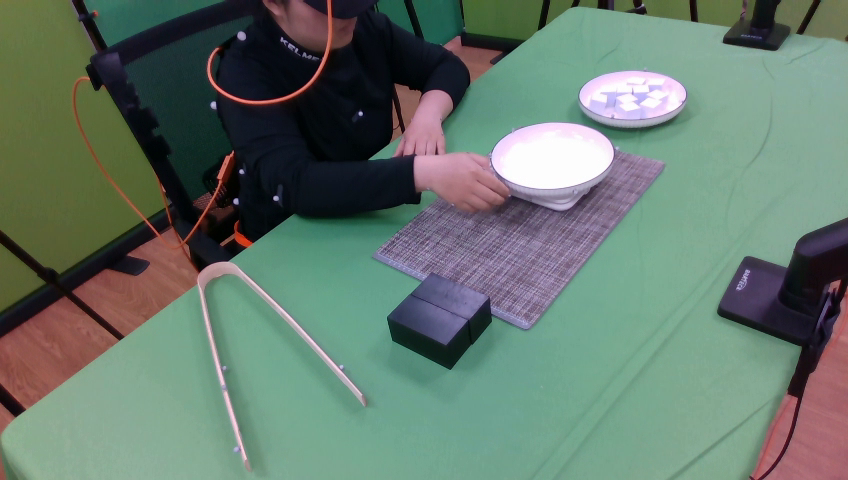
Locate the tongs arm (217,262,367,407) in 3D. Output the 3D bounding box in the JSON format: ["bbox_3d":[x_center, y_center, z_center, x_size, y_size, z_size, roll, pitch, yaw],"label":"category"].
[{"bbox_3d":[-0.199,0.122,0.871,0.028,0.028,0.384,-36,46,-24],"label":"tongs arm"}]

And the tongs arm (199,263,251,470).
[{"bbox_3d":[-0.269,0.154,0.840,0.051,0.026,0.381,-23,41,-17],"label":"tongs arm"}]

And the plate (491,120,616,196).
[{"bbox_3d":[0.221,-0.137,1.038,0.207,0.039,0.206,-6,41,5],"label":"plate"}]

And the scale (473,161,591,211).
[{"bbox_3d":[0.202,-0.121,1.074,0.199,0.032,0.149,23,49,33],"label":"scale"}]

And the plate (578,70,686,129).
[{"bbox_3d":[0.416,-0.280,1.222,0.209,0.038,0.208,-5,41,5],"label":"plate"}]
